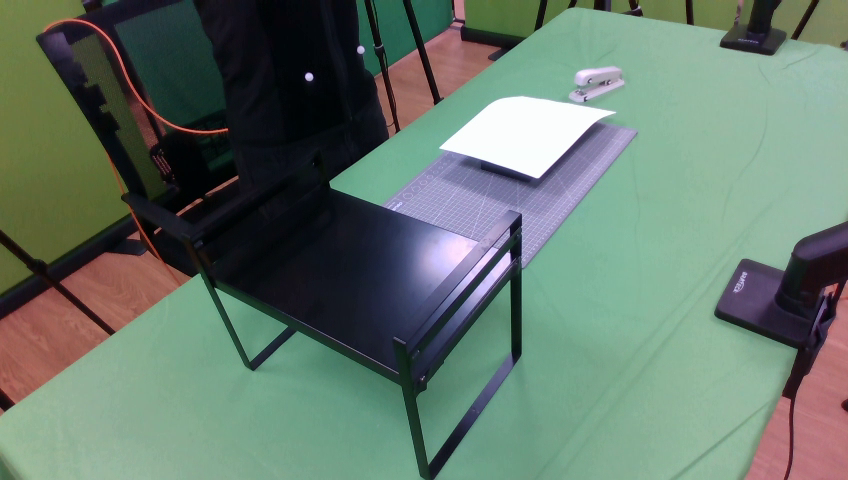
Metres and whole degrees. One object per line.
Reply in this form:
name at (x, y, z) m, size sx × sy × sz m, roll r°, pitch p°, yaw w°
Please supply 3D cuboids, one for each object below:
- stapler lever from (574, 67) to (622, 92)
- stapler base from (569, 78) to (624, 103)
stapler lever at (0.372, -0.351, 1.293) m, size 0.118 × 0.040 × 0.026 m, roll -25°, pitch 45°, yaw -20°
stapler base at (0.373, -0.332, 1.308) m, size 0.131 × 0.024 × 0.041 m, roll -24°, pitch 44°, yaw -21°
